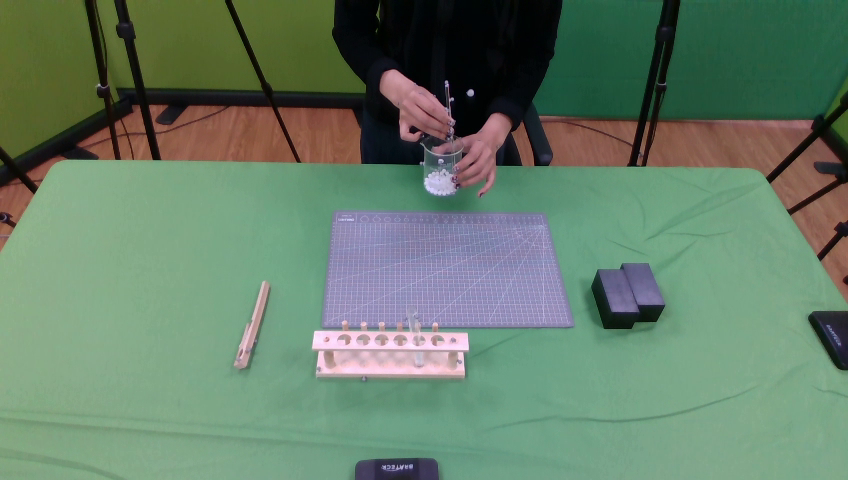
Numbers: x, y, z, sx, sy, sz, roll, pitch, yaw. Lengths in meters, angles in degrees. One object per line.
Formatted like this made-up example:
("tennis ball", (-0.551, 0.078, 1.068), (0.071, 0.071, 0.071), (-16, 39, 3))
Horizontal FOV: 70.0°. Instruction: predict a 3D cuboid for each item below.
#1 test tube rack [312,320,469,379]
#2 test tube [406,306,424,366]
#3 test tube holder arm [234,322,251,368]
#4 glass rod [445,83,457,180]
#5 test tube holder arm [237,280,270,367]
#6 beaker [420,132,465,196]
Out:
("test tube rack", (-0.054, 0.173, 0.984), (0.242, 0.085, 0.066), (1, 46, -3))
("test tube", (-0.013, 0.152, 0.939), (0.017, 0.151, 0.017), (-3, 48, 3))
("test tube holder arm", (-0.299, 0.173, 1.013), (0.010, 0.015, 0.087), (-17, 42, 22))
("glass rod", (0.050, -0.191, 1.095), (0.008, 0.201, 0.008), (-5, 41, 4))
("test tube holder arm", (-0.291, 0.140, 1.042), (0.013, 0.015, 0.177), (-17, 41, 22))
("beaker", (0.032, -0.140, 1.134), (0.084, 0.101, 0.073), (12, 43, 11))
